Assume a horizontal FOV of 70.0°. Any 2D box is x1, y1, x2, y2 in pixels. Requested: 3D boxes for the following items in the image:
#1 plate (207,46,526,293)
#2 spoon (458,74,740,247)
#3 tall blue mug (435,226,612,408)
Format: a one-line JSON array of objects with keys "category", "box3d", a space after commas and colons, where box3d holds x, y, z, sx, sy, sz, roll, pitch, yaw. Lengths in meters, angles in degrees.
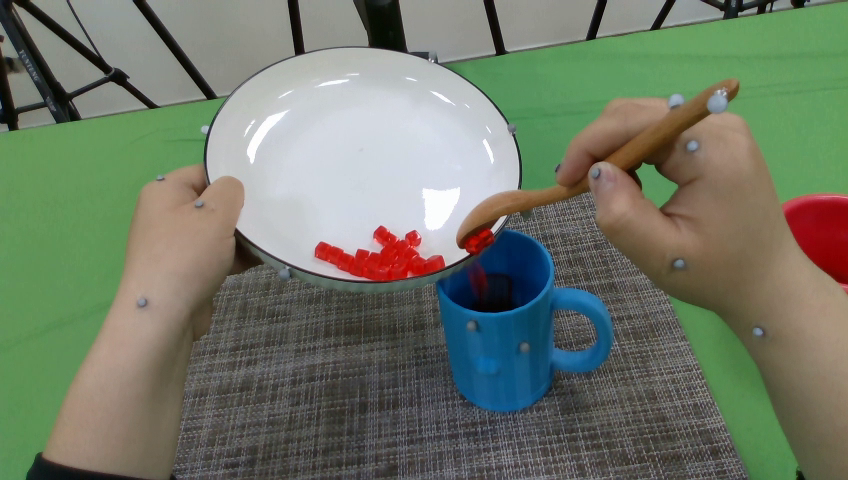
[{"category": "plate", "box3d": [-0.036, -0.051, 0.413, 0.208, 0.039, 0.205, 4, 56, -5]}, {"category": "spoon", "box3d": [0.067, -0.027, 0.285, 0.041, 0.193, 0.021, -31, 92, -28]}, {"category": "tall blue mug", "box3d": [0.066, 0.052, 0.418, 0.107, 0.109, 0.077, -13, 43, -2]}]
